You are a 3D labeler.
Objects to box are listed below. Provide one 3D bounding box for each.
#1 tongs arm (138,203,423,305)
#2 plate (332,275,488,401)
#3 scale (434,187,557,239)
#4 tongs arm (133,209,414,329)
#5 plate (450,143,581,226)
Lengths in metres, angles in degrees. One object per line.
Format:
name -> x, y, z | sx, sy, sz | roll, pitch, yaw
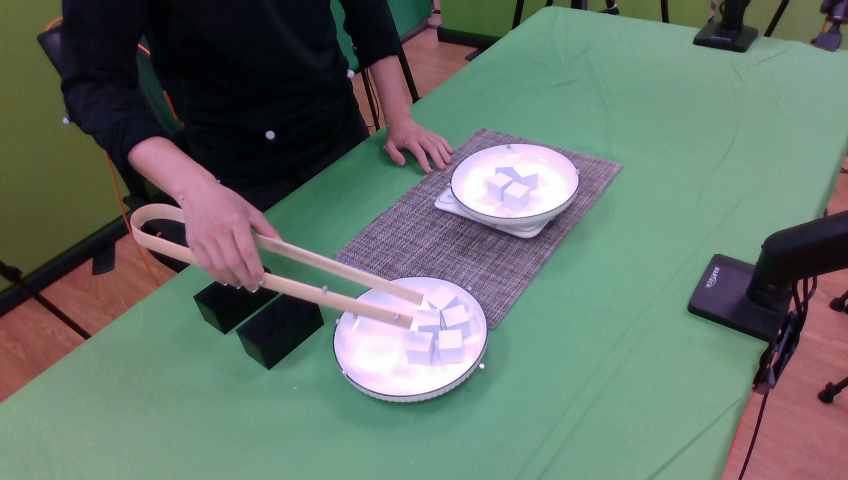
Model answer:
tongs arm -> -0.186, 0.019, 0.790 | 0.387, 0.028, 0.028 | 18, 50, 3
plate -> -0.017, 0.131, 0.808 | 0.207, 0.039, 0.206 | -4, 41, 4
scale -> 0.132, -0.075, 1.025 | 0.199, 0.032, 0.149 | 22, 48, 30
tongs arm -> -0.194, 0.036, 0.771 | 0.385, 0.026, 0.050 | 16, 46, 1
plate -> 0.148, -0.087, 0.986 | 0.209, 0.038, 0.208 | -4, 41, 4
